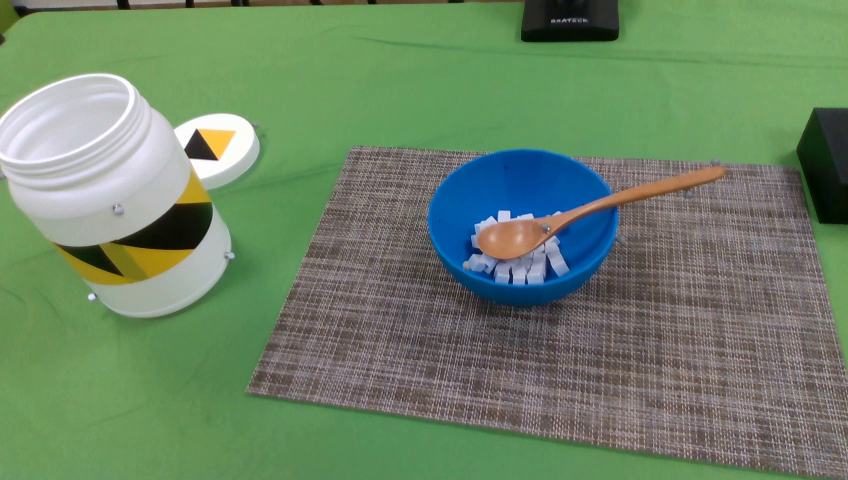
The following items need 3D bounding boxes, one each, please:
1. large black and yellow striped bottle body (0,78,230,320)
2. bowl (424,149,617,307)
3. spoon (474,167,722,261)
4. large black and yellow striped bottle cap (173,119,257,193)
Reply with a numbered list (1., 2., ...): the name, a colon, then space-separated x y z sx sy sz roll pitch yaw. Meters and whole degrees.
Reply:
1. large black and yellow striped bottle body: -0.260 -0.031 0.521 0.130 0.186 0.129 -4 49 5
2. bowl: 0.079 0.003 0.506 0.151 0.077 0.150 -4 50 5
3. spoon: 0.132 -0.022 0.474 0.193 0.022 0.041 -20 44 16
4. large black and yellow striped bottle cap: -0.248 -0.097 0.688 0.115 0.019 0.114 -3 49 4
